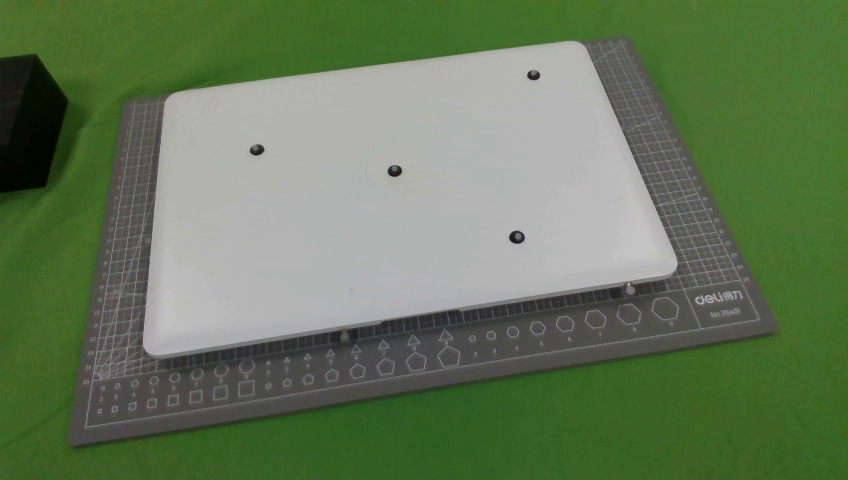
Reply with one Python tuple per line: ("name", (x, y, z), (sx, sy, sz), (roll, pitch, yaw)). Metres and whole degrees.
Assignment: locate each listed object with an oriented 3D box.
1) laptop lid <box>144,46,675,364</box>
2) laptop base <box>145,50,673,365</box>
("laptop lid", (-0.021, -0.044, 0.449), (0.357, 0.013, 0.239), (-7, 59, -3))
("laptop base", (-0.021, -0.040, 0.460), (0.355, 0.023, 0.233), (-9, 60, -4))
